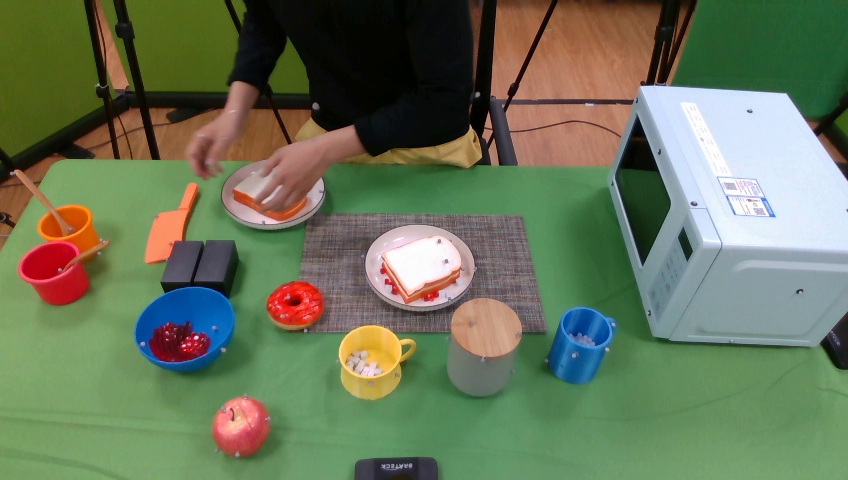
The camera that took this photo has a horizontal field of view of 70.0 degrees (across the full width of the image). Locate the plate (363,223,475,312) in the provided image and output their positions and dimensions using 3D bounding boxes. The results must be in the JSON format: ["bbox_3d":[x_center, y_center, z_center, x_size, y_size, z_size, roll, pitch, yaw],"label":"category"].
[{"bbox_3d":[-0.009,0.054,1.126,0.208,0.039,0.206,2,46,-2],"label":"plate"}]

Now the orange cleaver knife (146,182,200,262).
[{"bbox_3d":[-0.494,-0.039,1.198,0.077,0.012,0.210,-3,48,2],"label":"orange cleaver knife"}]

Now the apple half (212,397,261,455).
[{"bbox_3d":[-0.276,0.277,0.877,0.053,0.075,0.080,-29,58,-21],"label":"apple half"}]

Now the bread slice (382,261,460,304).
[{"bbox_3d":[0.000,0.055,1.129,0.131,0.019,0.104,-22,51,-21],"label":"bread slice"}]

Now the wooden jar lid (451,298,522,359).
[{"bbox_3d":[0.093,0.135,0.914,0.108,0.021,0.107,2,48,-2],"label":"wooden jar lid"}]

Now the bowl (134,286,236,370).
[{"bbox_3d":[-0.377,0.156,0.981,0.151,0.077,0.150,2,46,-2],"label":"bowl"}]

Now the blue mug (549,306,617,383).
[{"bbox_3d":[0.269,0.167,0.997,0.116,0.106,0.082,-19,50,-21],"label":"blue mug"}]

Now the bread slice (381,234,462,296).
[{"bbox_3d":[0.001,0.038,1.107,0.134,0.018,0.106,-24,56,-23],"label":"bread slice"}]

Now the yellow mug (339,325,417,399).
[{"bbox_3d":[-0.072,0.191,0.978,0.131,0.064,0.099,-17,49,-20],"label":"yellow mug"}]

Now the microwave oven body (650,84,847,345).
[{"bbox_3d":[0.569,-0.054,1.115,0.326,0.261,0.439,2,46,-1],"label":"microwave oven body"}]

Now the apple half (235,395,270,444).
[{"bbox_3d":[-0.245,0.260,0.893,0.033,0.082,0.081,-29,55,-22],"label":"apple half"}]

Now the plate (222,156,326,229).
[{"bbox_3d":[-0.307,-0.094,1.251,0.209,0.038,0.208,2,46,-2],"label":"plate"}]

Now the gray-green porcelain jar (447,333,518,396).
[{"bbox_3d":[0.091,0.178,0.960,0.106,0.127,0.105,2,46,-2],"label":"gray-green porcelain jar"}]

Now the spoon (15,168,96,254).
[{"bbox_3d":[-0.675,-0.052,1.109,0.021,0.194,0.041,-14,24,51],"label":"spoon"}]

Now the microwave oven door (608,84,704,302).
[{"bbox_3d":[0.424,-0.096,1.137,0.039,0.245,0.353,3,46,-1],"label":"microwave oven door"}]

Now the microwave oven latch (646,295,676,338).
[{"bbox_3d":[0.413,0.133,1.060,0.030,0.029,0.078,4,46,1],"label":"microwave oven latch"}]

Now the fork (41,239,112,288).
[{"bbox_3d":[-0.591,0.040,1.028,0.207,0.019,0.028,-27,36,29],"label":"fork"}]

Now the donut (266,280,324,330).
[{"bbox_3d":[-0.223,0.112,1.051,0.099,0.048,0.098,2,46,-2],"label":"donut"}]
